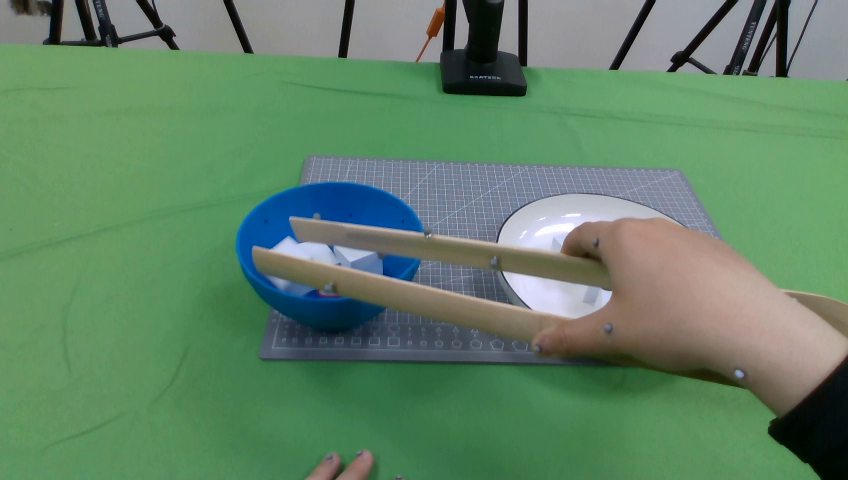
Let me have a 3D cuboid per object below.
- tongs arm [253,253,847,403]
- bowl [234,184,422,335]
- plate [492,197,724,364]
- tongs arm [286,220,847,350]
[{"bbox_3d":[0.055,0.046,0.375,0.385,0.028,0.028,9,35,21],"label":"tongs arm"},{"bbox_3d":[-0.078,0.027,0.512,0.151,0.077,0.150,3,41,-2],"label":"bowl"},{"bbox_3d":[0.163,0.036,0.557,0.208,0.039,0.205,3,40,-2],"label":"plate"},{"bbox_3d":[0.067,0.029,0.396,0.383,0.027,0.050,7,38,19],"label":"tongs arm"}]
